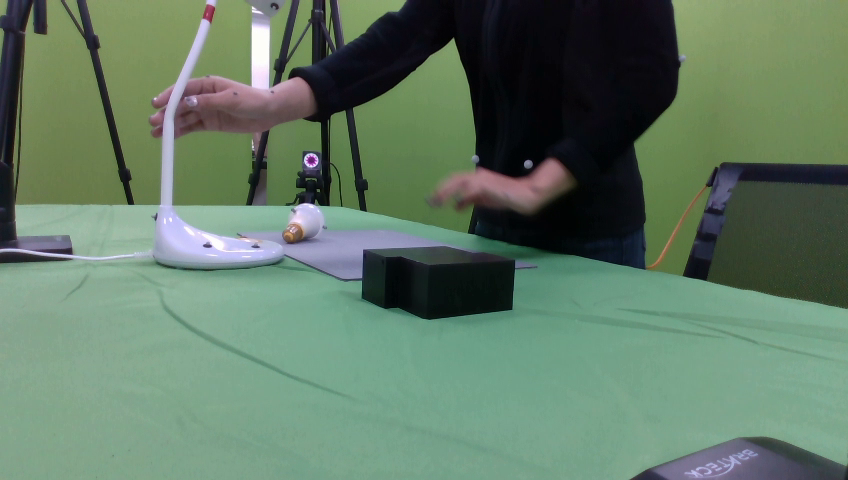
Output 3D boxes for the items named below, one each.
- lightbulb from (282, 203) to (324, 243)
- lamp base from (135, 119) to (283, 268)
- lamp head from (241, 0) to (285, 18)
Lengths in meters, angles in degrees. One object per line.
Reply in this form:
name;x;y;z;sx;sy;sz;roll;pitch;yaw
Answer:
lightbulb;-0.203;-0.023;0.993;0.059;0.059;0.108;3;23;12
lamp base;-0.273;-0.061;0.769;0.180;0.180;0.160;-7;11;-37
lamp head;-0.233;-0.365;0.790;0.123;0.112;0.112;15;-1;-33
